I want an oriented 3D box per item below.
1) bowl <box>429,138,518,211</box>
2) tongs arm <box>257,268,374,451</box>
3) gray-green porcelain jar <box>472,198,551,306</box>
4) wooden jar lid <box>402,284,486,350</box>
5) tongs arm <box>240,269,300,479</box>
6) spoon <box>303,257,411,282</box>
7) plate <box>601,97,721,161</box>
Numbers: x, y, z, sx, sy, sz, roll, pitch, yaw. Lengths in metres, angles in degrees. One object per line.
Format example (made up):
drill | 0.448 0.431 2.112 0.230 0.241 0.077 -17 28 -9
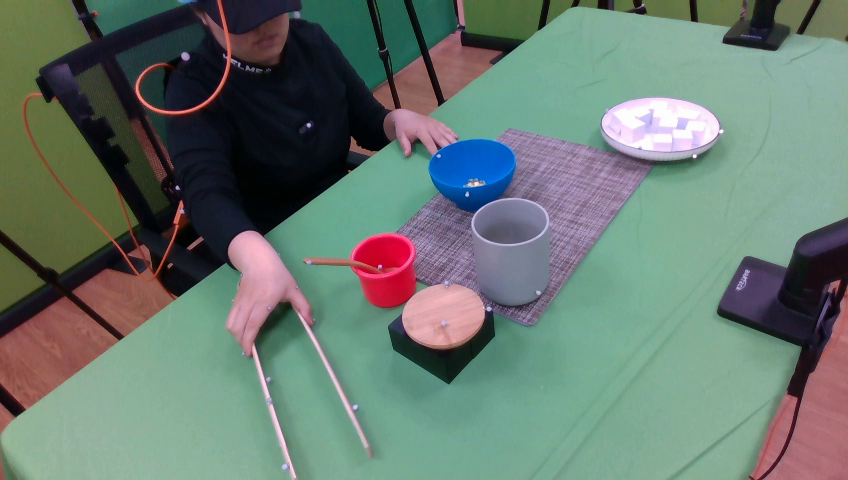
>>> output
bowl | 0.087 -0.104 1.043 0.151 0.077 0.150 -5 40 5
tongs arm | -0.158 0.145 0.837 0.028 0.028 0.384 -28 42 -16
gray-green porcelain jar | 0.125 0.021 0.850 0.106 0.127 0.105 -6 40 5
wooden jar lid | 0.026 0.101 0.786 0.108 0.021 0.108 -5 39 4
tongs arm | -0.204 0.163 0.823 0.051 0.026 0.381 -23 40 -15
spoon | -0.092 0.038 0.865 0.195 0.021 0.041 16 15 -46
plate | 0.436 -0.203 1.126 0.209 0.038 0.208 -5 39 5
